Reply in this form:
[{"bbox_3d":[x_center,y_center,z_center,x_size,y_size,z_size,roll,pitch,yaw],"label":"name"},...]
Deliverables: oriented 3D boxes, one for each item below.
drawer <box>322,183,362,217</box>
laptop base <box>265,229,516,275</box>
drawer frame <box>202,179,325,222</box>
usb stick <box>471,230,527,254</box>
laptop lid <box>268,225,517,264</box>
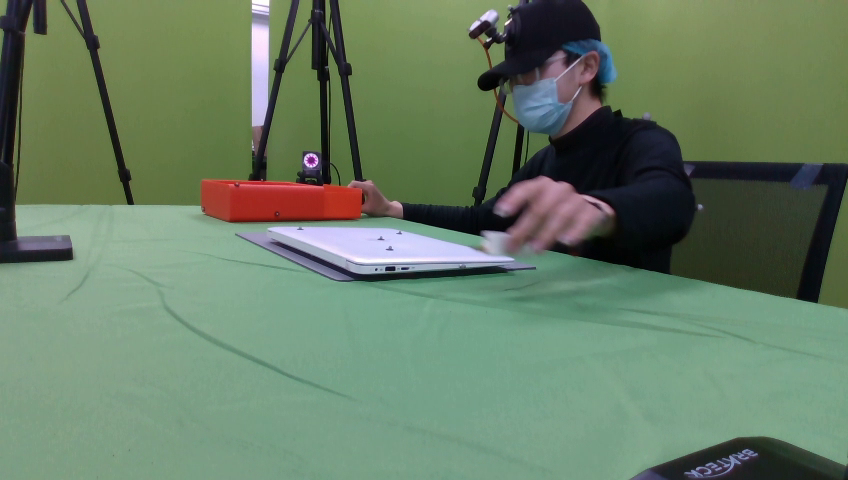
[{"bbox_3d":[-0.283,-0.095,1.416,0.213,0.073,0.193,-4,11,-37],"label":"drawer"},{"bbox_3d":[-0.065,0.014,0.877,0.237,0.023,0.352,2,7,-32],"label":"laptop base"},{"bbox_3d":[-0.361,-0.092,1.356,0.215,0.082,0.200,-4,10,-37],"label":"drawer frame"},{"bbox_3d":[0.080,0.003,0.650,0.059,0.027,0.021,-1,-2,-11],"label":"usb stick"},{"bbox_3d":[-0.063,0.002,0.877,0.243,0.013,0.355,1,7,-30],"label":"laptop lid"}]
